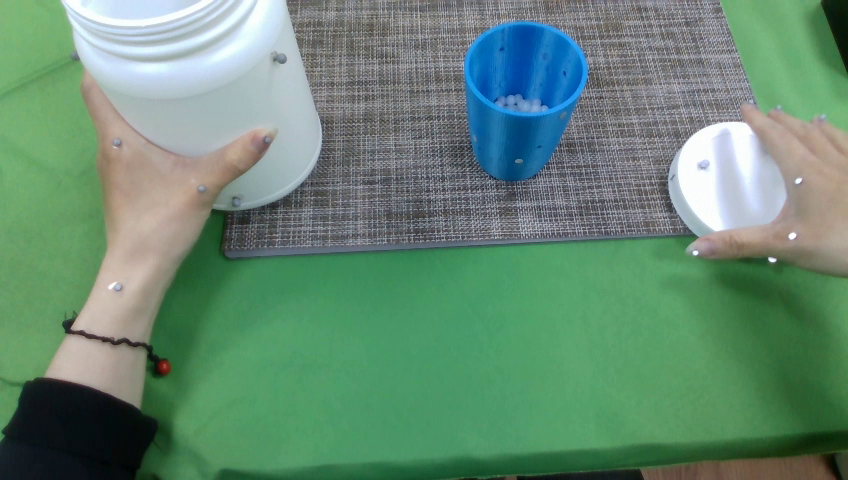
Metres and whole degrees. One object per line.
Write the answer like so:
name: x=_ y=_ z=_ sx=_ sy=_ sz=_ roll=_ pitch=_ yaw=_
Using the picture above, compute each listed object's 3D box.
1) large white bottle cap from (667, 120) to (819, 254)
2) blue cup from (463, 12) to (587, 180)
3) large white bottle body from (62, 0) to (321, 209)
large white bottle cap: x=0.253 y=-0.044 z=0.481 sx=0.115 sy=0.018 sz=0.114 roll=1 pitch=66 yaw=-3
blue cup: x=0.070 y=-0.097 z=0.459 sx=0.092 sy=0.101 sz=0.092 roll=0 pitch=63 yaw=1
large white bottle body: x=-0.151 y=-0.119 z=0.421 sx=0.130 sy=0.186 sz=0.129 roll=0 pitch=63 yaw=1
